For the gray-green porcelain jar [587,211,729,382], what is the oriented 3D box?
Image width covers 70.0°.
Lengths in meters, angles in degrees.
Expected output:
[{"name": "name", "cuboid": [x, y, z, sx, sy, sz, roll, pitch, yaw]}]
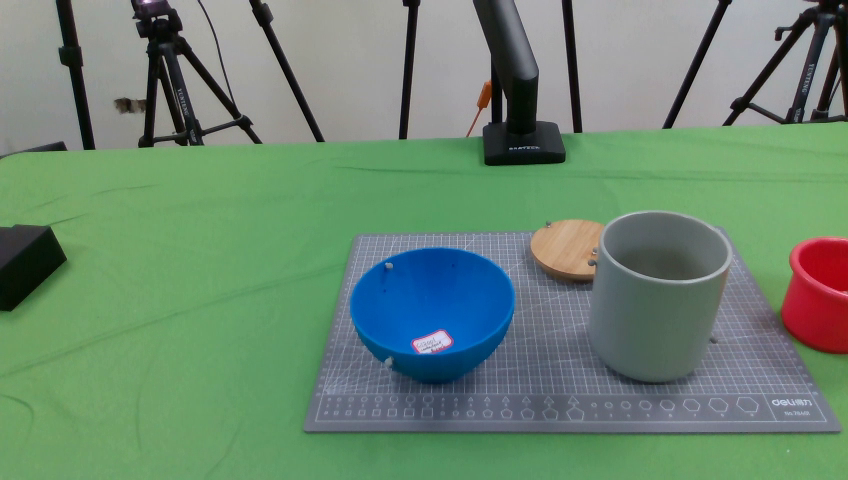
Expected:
[{"name": "gray-green porcelain jar", "cuboid": [0.202, 0.054, 0.541, 0.106, 0.127, 0.105, -3, 36, 3]}]

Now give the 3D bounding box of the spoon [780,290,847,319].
[{"name": "spoon", "cuboid": [0.414, 0.039, 0.531, 0.041, 0.193, 0.021, -38, 92, -40]}]

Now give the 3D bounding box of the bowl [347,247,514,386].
[{"name": "bowl", "cuboid": [0.008, 0.082, 0.566, 0.151, 0.077, 0.150, -3, 36, 2]}]

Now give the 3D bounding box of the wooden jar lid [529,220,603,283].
[{"name": "wooden jar lid", "cuboid": [0.174, 0.014, 0.694, 0.108, 0.021, 0.107, -3, 34, 2]}]
